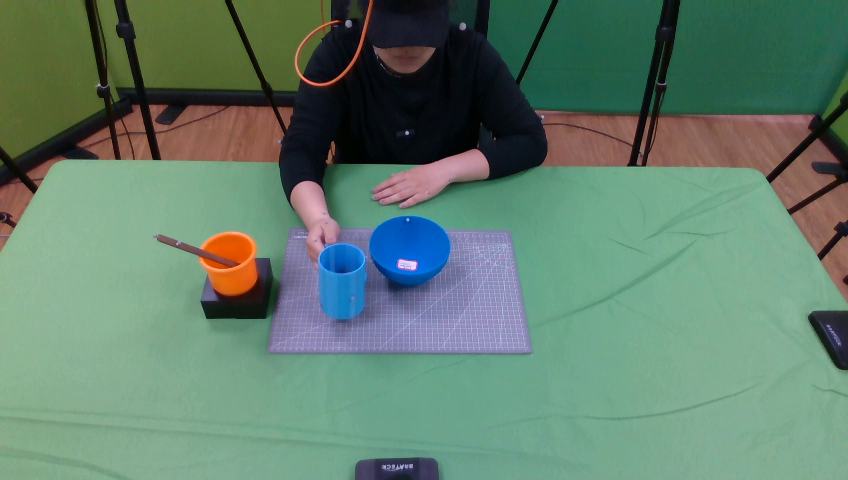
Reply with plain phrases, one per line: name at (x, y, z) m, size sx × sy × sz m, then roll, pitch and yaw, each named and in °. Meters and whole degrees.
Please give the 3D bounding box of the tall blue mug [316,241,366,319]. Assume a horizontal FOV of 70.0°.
tall blue mug at (-0.150, 0.061, 1.016) m, size 0.107 × 0.108 × 0.077 m, roll 29°, pitch 47°, yaw 24°

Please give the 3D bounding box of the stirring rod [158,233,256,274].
stirring rod at (-0.354, 0.024, 1.000) m, size 0.177 × 0.006 × 0.014 m, roll 27°, pitch 31°, yaw -40°

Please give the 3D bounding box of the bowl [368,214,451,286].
bowl at (-0.028, 0.031, 1.122) m, size 0.151 × 0.077 × 0.150 m, roll 2°, pitch 46°, yaw -2°
